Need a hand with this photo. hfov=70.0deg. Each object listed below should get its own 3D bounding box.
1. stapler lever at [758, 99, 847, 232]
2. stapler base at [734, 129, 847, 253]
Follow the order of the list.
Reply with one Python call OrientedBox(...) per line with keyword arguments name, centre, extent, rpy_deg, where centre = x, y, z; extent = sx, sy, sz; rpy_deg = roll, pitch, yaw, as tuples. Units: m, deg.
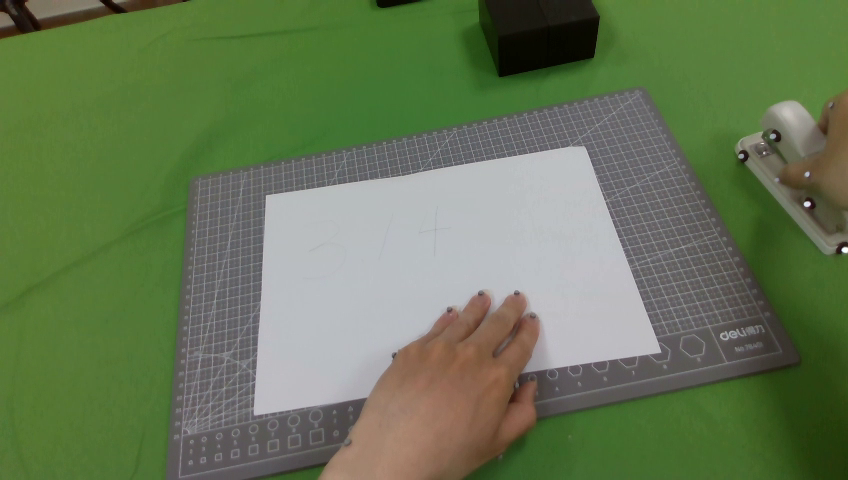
OrientedBox(name="stapler lever", centre=(0.307, -0.063, 0.476), extent=(0.027, 0.040, 0.117), rpy_deg=(-20, 57, -3))
OrientedBox(name="stapler base", centre=(0.309, -0.050, 0.498), extent=(0.041, 0.025, 0.129), rpy_deg=(-20, 57, -3))
